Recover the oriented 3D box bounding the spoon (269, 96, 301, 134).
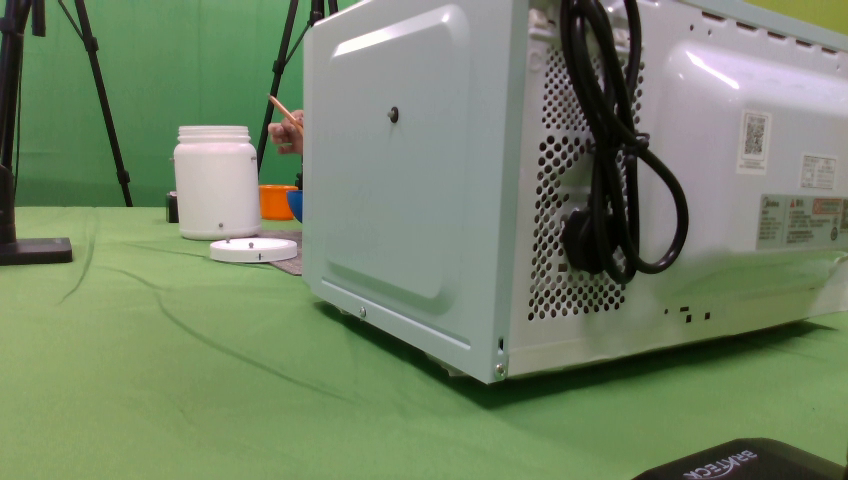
[{"bbox_3d":[-0.205,-0.177,1.001,0.193,0.021,0.042,54,20,21],"label":"spoon"}]

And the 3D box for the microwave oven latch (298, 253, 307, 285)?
[{"bbox_3d":[-0.081,0.028,0.582,0.079,0.029,0.030,-2,7,-32],"label":"microwave oven latch"}]

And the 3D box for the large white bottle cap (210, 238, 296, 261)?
[{"bbox_3d":[-0.236,0.012,0.839,0.115,0.018,0.115,1,8,0],"label":"large white bottle cap"}]

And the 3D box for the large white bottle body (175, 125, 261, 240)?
[{"bbox_3d":[-0.349,-0.100,1.025,0.131,0.184,0.130,-1,9,0],"label":"large white bottle body"}]

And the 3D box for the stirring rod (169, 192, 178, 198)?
[{"bbox_3d":[-0.465,-0.098,1.283,0.014,0.006,0.177,42,21,17],"label":"stirring rod"}]

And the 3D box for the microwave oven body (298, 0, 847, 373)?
[{"bbox_3d":[0.151,-0.055,0.542,0.444,0.260,0.324,-2,7,-33],"label":"microwave oven body"}]

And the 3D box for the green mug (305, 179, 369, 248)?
[{"bbox_3d":[-0.133,-0.044,0.977,0.092,0.105,0.126,6,8,32],"label":"green mug"}]

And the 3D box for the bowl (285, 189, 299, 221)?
[{"bbox_3d":[-0.180,-0.051,1.113,0.151,0.077,0.151,2,8,0],"label":"bowl"}]

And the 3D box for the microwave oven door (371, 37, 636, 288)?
[{"bbox_3d":[0.109,-0.080,0.686,0.358,0.243,0.039,-2,9,-33],"label":"microwave oven door"}]
